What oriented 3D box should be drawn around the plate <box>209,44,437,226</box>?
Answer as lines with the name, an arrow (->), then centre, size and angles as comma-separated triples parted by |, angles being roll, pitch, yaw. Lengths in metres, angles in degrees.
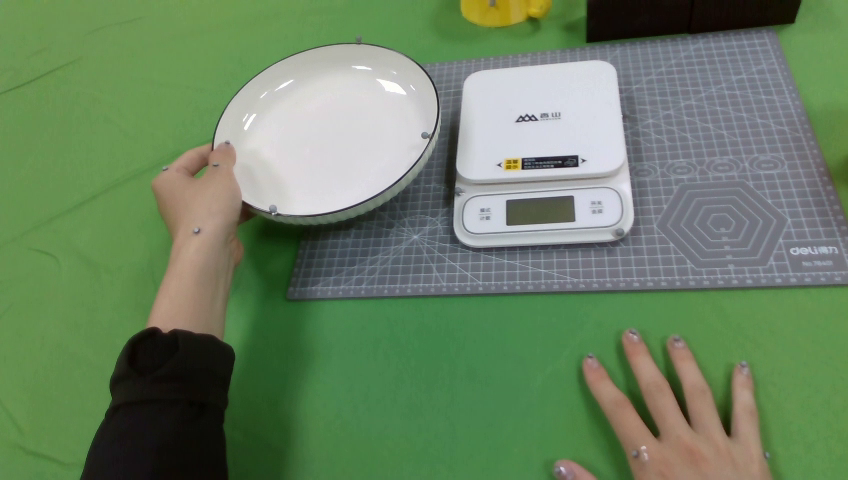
plate -> -0.089, -0.095, 0.551 | 0.209, 0.038, 0.207 | -4, 57, 7

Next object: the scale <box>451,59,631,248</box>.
scale -> 0.101, -0.084, 0.546 | 0.148, 0.032, 0.199 | -3, 55, 12

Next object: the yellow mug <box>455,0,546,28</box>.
yellow mug -> 0.090, -0.292, 0.682 | 0.100, 0.064, 0.129 | -38, 56, -14
